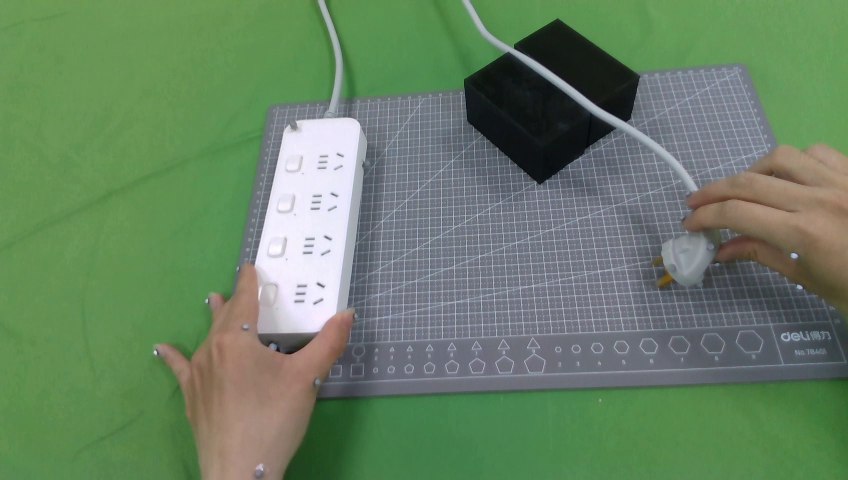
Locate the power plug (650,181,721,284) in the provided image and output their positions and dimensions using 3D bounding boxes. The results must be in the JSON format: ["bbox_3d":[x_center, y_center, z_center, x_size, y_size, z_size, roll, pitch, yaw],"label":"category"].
[{"bbox_3d":[0.190,0.000,0.441,0.035,0.053,0.072,38,50,-11],"label":"power plug"}]

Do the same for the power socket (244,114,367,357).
[{"bbox_3d":[-0.092,-0.017,0.496,0.072,0.033,0.224,0,58,6],"label":"power socket"}]
